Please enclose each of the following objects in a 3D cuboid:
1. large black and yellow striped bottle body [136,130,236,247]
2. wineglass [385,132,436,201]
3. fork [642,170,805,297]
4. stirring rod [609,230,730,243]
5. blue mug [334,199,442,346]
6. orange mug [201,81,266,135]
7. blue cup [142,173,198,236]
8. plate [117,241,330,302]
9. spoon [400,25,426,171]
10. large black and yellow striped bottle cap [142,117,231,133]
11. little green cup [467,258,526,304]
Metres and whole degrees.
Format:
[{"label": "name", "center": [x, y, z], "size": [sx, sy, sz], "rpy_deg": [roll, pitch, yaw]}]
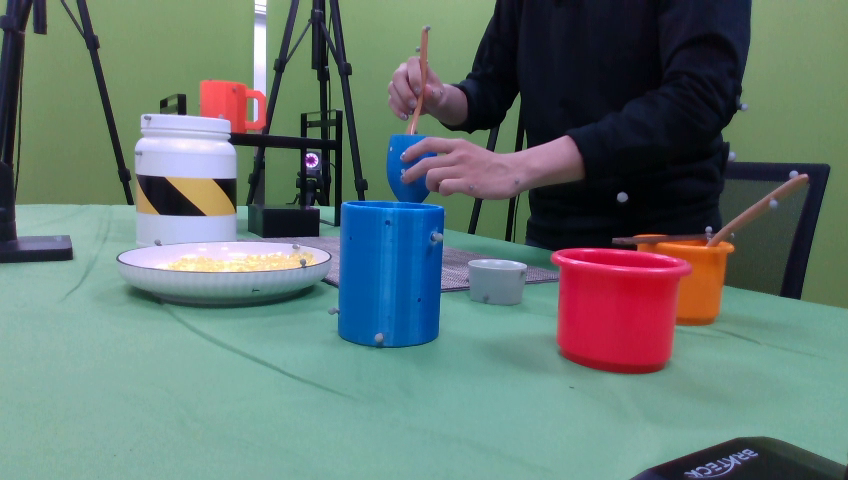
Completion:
[{"label": "large black and yellow striped bottle body", "center": [-0.332, -0.076, 0.851], "size": [0.131, 0.184, 0.130], "rpy_deg": [3, 8, 0]}, {"label": "wineglass", "center": [-0.020, -0.061, 0.842], "size": [0.074, 0.172, 0.073], "rpy_deg": [2, 7, 0]}, {"label": "fork", "center": [0.261, 0.004, 0.545], "size": [0.028, 0.018, 0.207], "rpy_deg": [5, -37, -15]}, {"label": "stirring rod", "center": [0.241, -0.004, 0.582], "size": [0.177, 0.006, 0.014], "rpy_deg": [-4, 9, -33]}, {"label": "blue mug", "center": [-0.034, 0.020, 0.498], "size": [0.083, 0.106, 0.116], "rpy_deg": [0, 7, -20]}, {"label": "orange mug", "center": [-0.377, -0.260, 1.198], "size": [0.126, 0.101, 0.083], "rpy_deg": [-3, 8, -6]}, {"label": "blue cup", "center": [-0.425, -0.060, 1.014], "size": [0.093, 0.100, 0.092], "rpy_deg": [4, 9, 0]}, {"label": "plate", "center": [-0.203, 0.031, 0.629], "size": [0.209, 0.038, 0.209], "rpy_deg": [3, 7, 0]}, {"label": "spoon", "center": [-0.011, -0.192, 0.822], "size": [0.022, 0.193, 0.041], "rpy_deg": [9, 5, -15]}, {"label": "large black and yellow striped bottle cap", "center": [-0.328, -0.159, 0.839], "size": [0.115, 0.019, 0.115], "rpy_deg": [1, 9, 0]}, {"label": "little green cup", "center": [0.074, 0.042, 0.625], "size": [0.061, 0.038, 0.061], "rpy_deg": [3, 8, 0]}]
